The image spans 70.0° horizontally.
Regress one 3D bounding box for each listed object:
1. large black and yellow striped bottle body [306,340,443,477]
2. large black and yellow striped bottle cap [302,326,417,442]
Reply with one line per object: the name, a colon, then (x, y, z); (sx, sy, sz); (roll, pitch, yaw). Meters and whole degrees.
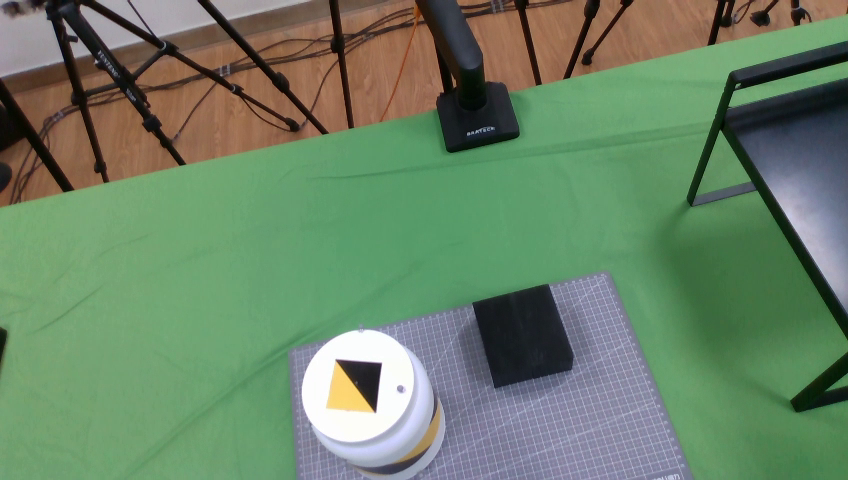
large black and yellow striped bottle body: (-0.053, 0.184, 0.678); (0.130, 0.186, 0.129); (-4, 59, 7)
large black and yellow striped bottle cap: (-0.065, 0.142, 0.605); (0.115, 0.019, 0.114); (-5, 60, 9)
